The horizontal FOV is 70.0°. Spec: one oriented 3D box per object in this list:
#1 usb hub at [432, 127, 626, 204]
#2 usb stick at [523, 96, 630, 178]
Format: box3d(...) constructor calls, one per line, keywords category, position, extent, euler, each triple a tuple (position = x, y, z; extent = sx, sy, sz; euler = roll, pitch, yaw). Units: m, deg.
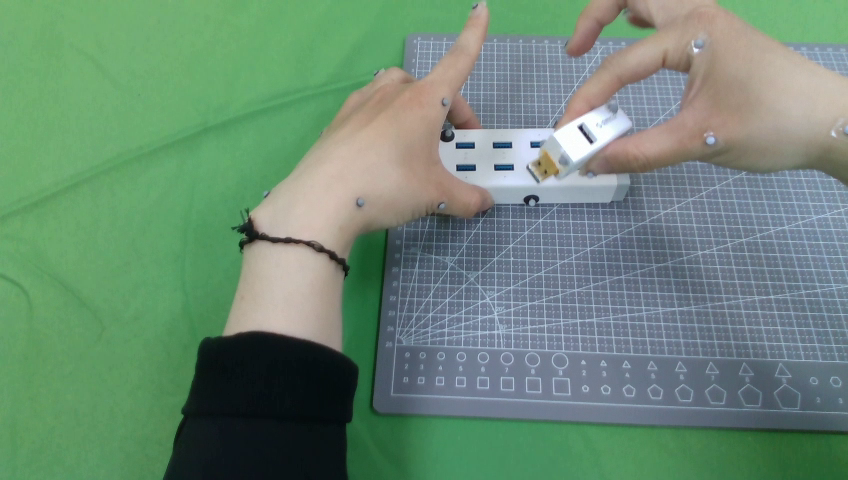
box3d(category="usb hub", position=(0.068, -0.051, 0.408), extent=(0.125, 0.025, 0.049), euler=(0, 61, 1))
box3d(category="usb stick", position=(0.083, -0.055, 0.336), extent=(0.059, 0.027, 0.021), euler=(-30, 81, -12))
